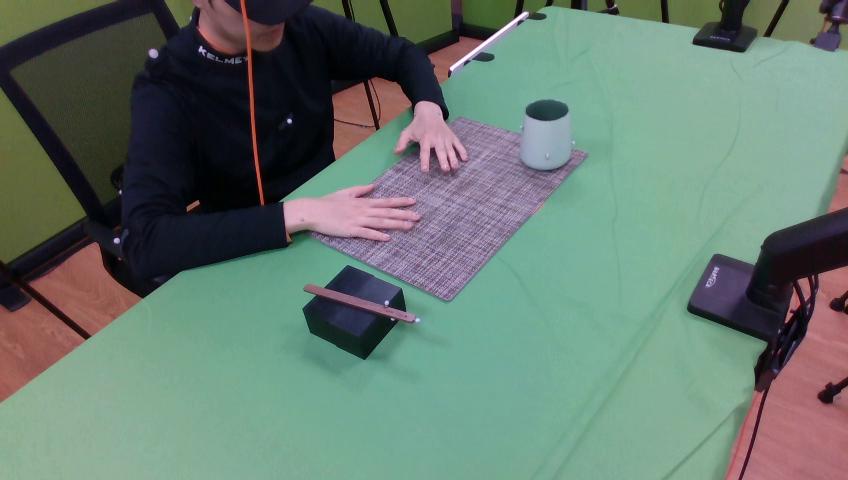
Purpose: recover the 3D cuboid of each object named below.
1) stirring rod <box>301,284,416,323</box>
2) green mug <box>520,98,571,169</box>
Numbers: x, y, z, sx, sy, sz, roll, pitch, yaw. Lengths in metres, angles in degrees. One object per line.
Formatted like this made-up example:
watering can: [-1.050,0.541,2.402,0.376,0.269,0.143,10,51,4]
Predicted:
stirring rod: [-0.091,0.085,0.819,0.175,0.006,0.014,13,46,22]
green mug: [0.216,-0.200,1.100,0.093,0.105,0.124,-14,41,-7]
